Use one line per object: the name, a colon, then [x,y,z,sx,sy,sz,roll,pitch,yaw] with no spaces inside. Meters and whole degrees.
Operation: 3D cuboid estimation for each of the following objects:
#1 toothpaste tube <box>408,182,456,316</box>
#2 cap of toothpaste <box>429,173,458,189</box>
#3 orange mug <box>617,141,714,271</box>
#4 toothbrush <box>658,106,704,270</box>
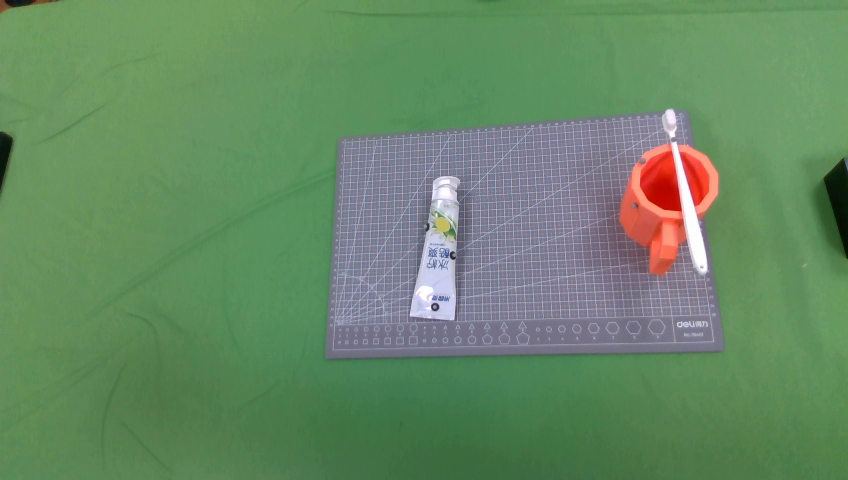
toothpaste tube: [0.015,0.008,0.732,0.055,0.035,0.164,2,76,16]
cap of toothpaste: [0.024,-0.071,0.750,0.037,0.037,0.011,-8,67,7]
orange mug: [0.261,-0.033,0.665,0.083,0.101,0.125,5,68,12]
toothbrush: [0.262,-0.056,0.617,0.014,0.017,0.180,-5,71,4]
